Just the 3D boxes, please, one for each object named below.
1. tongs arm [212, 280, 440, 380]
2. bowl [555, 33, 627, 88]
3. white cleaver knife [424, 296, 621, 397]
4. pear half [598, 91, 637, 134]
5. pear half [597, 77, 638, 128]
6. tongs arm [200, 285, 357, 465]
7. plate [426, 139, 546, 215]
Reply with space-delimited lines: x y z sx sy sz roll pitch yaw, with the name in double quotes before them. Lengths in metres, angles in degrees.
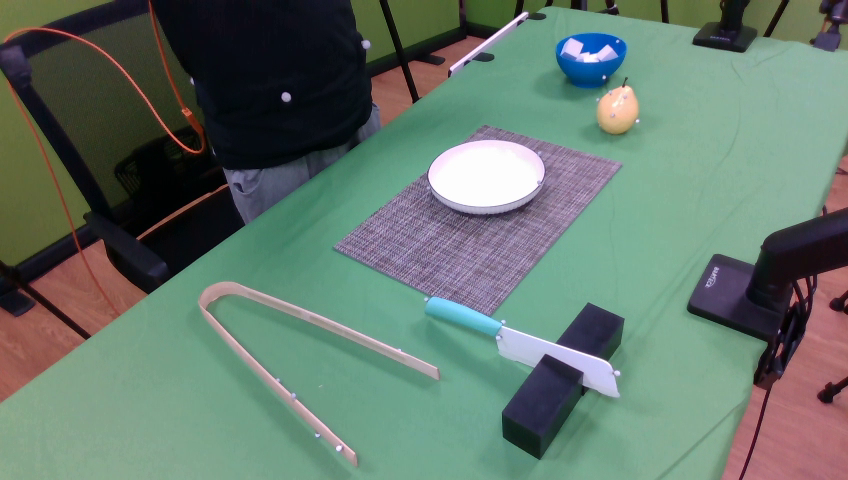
"tongs arm" -0.147 0.121 0.845 0.385 0.028 0.028 17 48 26
"bowl" 0.360 -0.384 1.318 0.151 0.077 0.150 -4 41 4
"white cleaver knife" 0.110 0.132 0.761 0.284 0.066 0.021 17 42 39
"pear half" 0.365 -0.235 1.137 0.070 0.088 0.031 10 43 5
"pear half" 0.373 -0.266 1.155 0.076 0.110 0.056 10 43 4
"tongs arm" -0.199 0.162 0.798 0.381 0.026 0.051 28 50 35
"plate" 0.109 -0.107 1.058 0.207 0.039 0.206 -4 40 4
